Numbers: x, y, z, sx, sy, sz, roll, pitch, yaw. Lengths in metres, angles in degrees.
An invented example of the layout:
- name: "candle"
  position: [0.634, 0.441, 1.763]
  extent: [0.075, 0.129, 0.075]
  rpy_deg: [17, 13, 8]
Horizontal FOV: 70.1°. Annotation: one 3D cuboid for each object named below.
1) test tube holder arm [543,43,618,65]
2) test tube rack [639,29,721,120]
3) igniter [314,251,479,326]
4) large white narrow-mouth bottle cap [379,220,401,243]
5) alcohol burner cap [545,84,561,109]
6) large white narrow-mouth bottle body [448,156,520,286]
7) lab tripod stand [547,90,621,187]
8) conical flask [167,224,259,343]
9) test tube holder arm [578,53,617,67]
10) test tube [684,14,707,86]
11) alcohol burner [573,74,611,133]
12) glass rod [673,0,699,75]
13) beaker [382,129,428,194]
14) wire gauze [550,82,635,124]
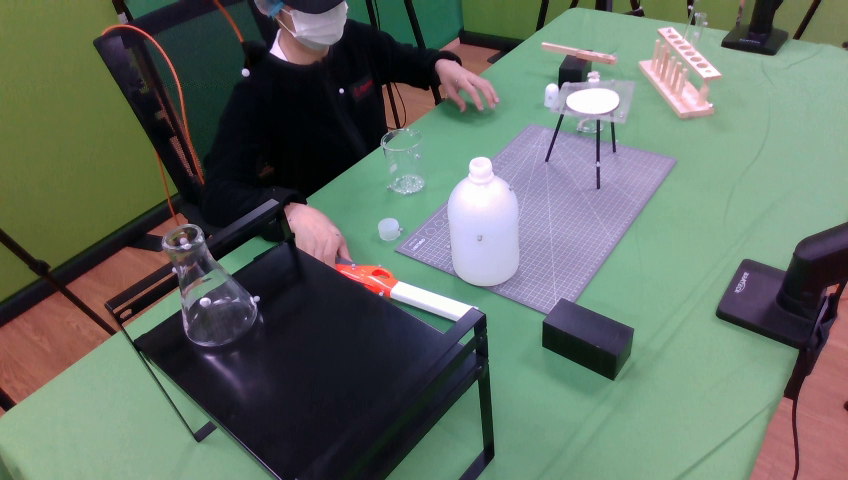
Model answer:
- name: "test tube holder arm"
  position: [0.345, -0.413, 1.340]
  extent: [0.177, 0.015, 0.013]
  rpy_deg: [25, 50, 31]
- name: "test tube rack"
  position: [0.527, -0.351, 1.262]
  extent: [0.067, 0.085, 0.241]
  rpy_deg: [-8, 40, 1]
- name: "igniter"
  position: [-0.050, 0.067, 0.892]
  extent: [0.275, 0.025, 0.057]
  rpy_deg: [18, 38, 22]
- name: "large white narrow-mouth bottle cap"
  position: [-0.057, -0.015, 1.012]
  extent: [0.038, 0.024, 0.037]
  rpy_deg: [-4, 40, 4]
- name: "alcohol burner cap"
  position: [0.274, -0.308, 1.285]
  extent: [0.034, 0.048, 0.033]
  rpy_deg: [-5, 42, 5]
- name: "large white narrow-mouth bottle body"
  position: [0.086, -0.032, 0.869]
  extent: [0.102, 0.195, 0.101]
  rpy_deg: [-4, 40, 4]
- name: "lab tripod stand"
  position: [0.289, -0.184, 1.062]
  extent: [0.148, 0.132, 0.147]
  rpy_deg: [-6, 41, 6]
- name: "conical flask"
  position: [-0.220, 0.041, 0.613]
  extent: [0.075, 0.122, 0.075]
  rpy_deg: [-5, 40, 4]
- name: "test tube holder arm"
  position: [0.376, -0.393, 1.314]
  extent: [0.087, 0.015, 0.010]
  rpy_deg: [26, 51, 32]
- name: "test tube"
  position: [0.541, -0.379, 1.216]
  extent: [0.017, 0.151, 0.017]
  rpy_deg: [-2, 44, 2]
- name: "alcohol burner"
  position: [0.330, -0.270, 1.177]
  extent: [0.078, 0.119, 0.077]
  rpy_deg: [-4, 43, 5]
- name: "glass rod"
  position: [0.541, -0.427, 1.246]
  extent: [0.008, 0.200, 0.008]
  rpy_deg: [0, 48, 1]
- name: "beaker"
  position: [-0.030, -0.142, 1.095]
  extent: [0.073, 0.101, 0.084]
  rpy_deg: [14, 44, 23]
- name: "wire gauze"
  position: [0.285, -0.236, 1.020]
  extent: [0.124, 0.011, 0.121]
  rpy_deg: [10, 44, 22]
